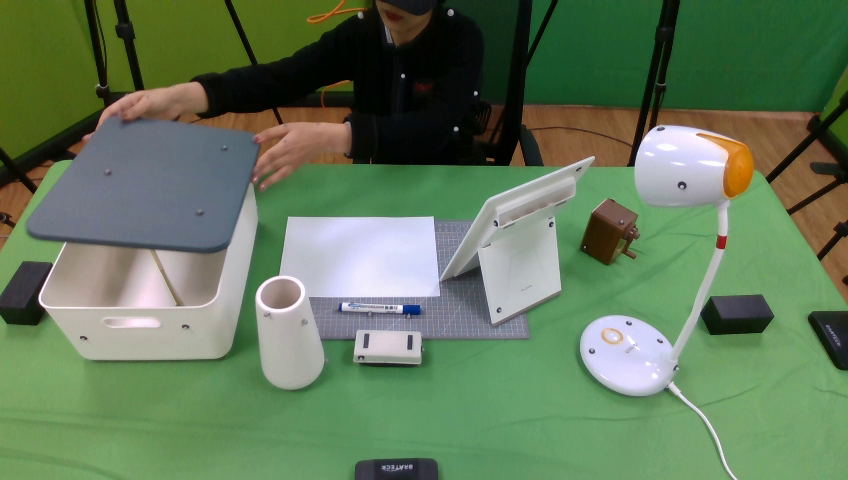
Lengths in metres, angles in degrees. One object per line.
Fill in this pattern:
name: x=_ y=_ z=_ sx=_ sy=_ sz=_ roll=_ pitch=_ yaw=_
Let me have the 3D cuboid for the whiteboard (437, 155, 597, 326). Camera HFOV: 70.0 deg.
whiteboard: x=0.180 y=0.023 z=1.029 sx=0.217 sy=0.306 sz=0.143 roll=-21 pitch=71 yaw=-23

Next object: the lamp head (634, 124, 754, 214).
lamp head: x=0.351 y=-0.089 z=0.776 sx=0.112 sy=0.113 sz=0.122 roll=-30 pitch=30 yaw=-28

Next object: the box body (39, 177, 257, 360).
box body: x=-0.441 y=0.022 z=1.046 sx=0.254 sy=0.161 sz=0.361 roll=0 pitch=46 yaw=-4

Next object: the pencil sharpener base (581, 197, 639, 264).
pencil sharpener base: x=0.362 y=-0.016 z=1.178 sx=0.076 sy=0.107 sz=0.061 roll=35 pitch=53 yaw=26

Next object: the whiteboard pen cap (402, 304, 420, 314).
whiteboard pen cap: x=-0.024 y=0.123 z=1.076 sx=0.033 sy=0.018 sz=0.018 roll=1 pitch=46 yaw=1

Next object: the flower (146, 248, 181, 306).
flower: x=-0.461 y=0.075 z=1.083 sx=0.044 sy=0.038 sz=0.359 roll=-35 pitch=54 yaw=-14

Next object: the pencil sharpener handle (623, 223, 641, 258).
pencil sharpener handle: x=0.399 y=0.002 z=1.146 sx=0.030 sy=0.068 sz=0.036 roll=35 pitch=45 yaw=26

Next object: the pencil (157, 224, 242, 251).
pencil: x=-0.438 y=-0.008 z=1.174 sx=0.193 sy=0.012 sz=0.012 roll=15 pitch=47 yaw=14

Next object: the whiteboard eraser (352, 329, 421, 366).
whiteboard eraser: x=-0.061 y=0.179 z=1.005 sx=0.113 sy=0.042 sz=0.055 roll=3 pitch=48 yaw=-3

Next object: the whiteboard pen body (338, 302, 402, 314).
whiteboard pen body: x=-0.083 y=0.121 z=1.074 sx=0.141 sy=0.017 sz=0.017 roll=3 pitch=46 yaw=-2

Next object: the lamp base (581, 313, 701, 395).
lamp base: x=0.361 y=0.144 z=0.972 sx=0.178 sy=0.181 sz=0.160 roll=34 pitch=53 yaw=23

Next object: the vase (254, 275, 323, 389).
vase: x=-0.209 y=0.143 z=0.921 sx=0.098 sy=0.201 sz=0.097 roll=1 pitch=46 yaw=-1

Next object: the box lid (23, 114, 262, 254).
box lid: x=-0.409 y=-0.102 z=0.945 sx=0.264 sy=0.015 sz=0.369 roll=6 pitch=35 yaw=-10
